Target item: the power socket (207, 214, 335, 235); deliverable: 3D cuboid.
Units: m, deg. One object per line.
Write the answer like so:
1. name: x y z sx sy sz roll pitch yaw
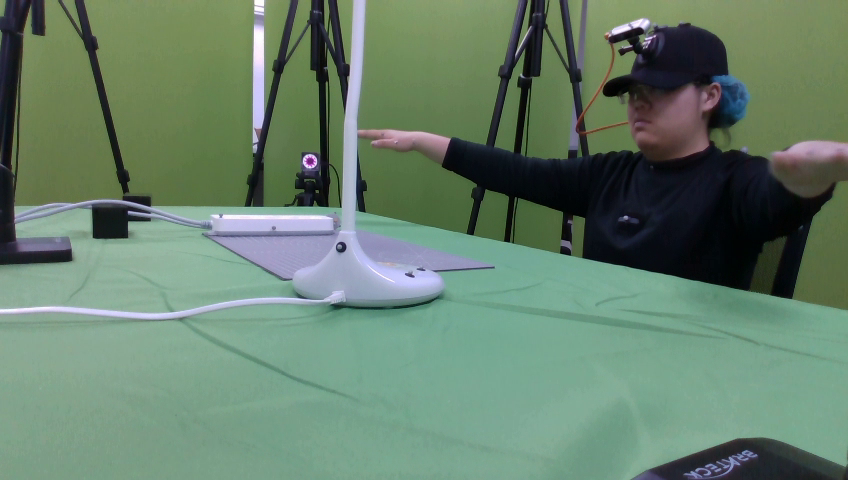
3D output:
1. power socket: -0.271 -0.029 1.086 0.228 0.032 0.072 -1 8 -28

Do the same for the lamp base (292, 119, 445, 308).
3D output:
1. lamp base: -0.056 -0.030 0.616 0.160 0.180 0.179 4 10 8

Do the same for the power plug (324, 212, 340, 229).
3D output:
1. power plug: -0.200 -0.027 1.194 0.072 0.035 0.052 -35 12 -12
